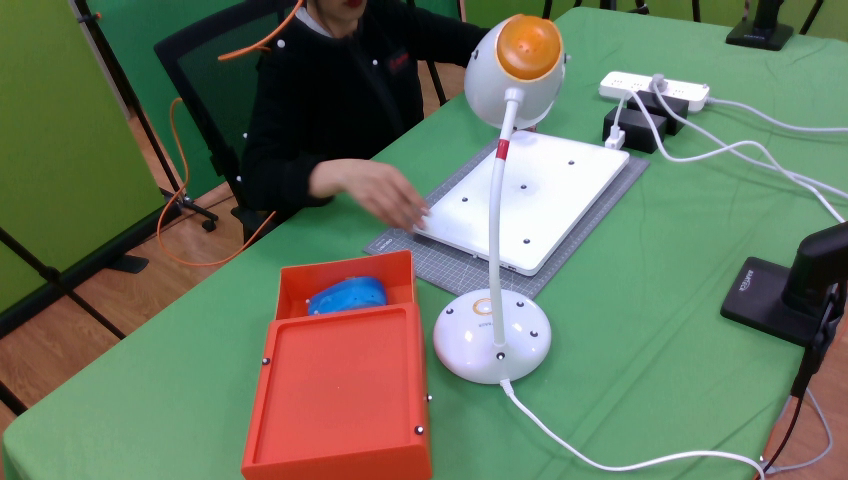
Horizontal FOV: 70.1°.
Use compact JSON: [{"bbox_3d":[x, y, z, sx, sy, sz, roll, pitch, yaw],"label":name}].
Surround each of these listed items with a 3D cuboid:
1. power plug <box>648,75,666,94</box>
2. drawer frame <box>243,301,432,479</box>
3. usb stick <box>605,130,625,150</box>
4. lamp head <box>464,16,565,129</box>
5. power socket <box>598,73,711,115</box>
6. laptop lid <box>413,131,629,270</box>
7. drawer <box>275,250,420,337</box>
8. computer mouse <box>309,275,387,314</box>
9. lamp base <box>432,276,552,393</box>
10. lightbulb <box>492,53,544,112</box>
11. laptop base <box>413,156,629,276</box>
[{"bbox_3d":[0.457,-0.301,1.212,0.073,0.053,0.035,-36,46,-28],"label":"power plug"},{"bbox_3d":[-0.096,0.185,0.738,0.202,0.083,0.212,-8,40,1],"label":"drawer frame"},{"bbox_3d":[0.348,-0.175,1.110,0.021,0.027,0.059,19,52,29],"label":"usb stick"},{"bbox_3d":[0.101,-0.184,0.655,0.112,0.112,0.123,-9,0,0],"label":"lamp head"},{"bbox_3d":[0.470,-0.303,1.249,0.225,0.033,0.072,20,49,30],"label":"power socket"},{"bbox_3d":[0.172,-0.087,1.042,0.239,0.013,0.357,21,48,34],"label":"laptop lid"},{"bbox_3d":[-0.103,0.117,0.825,0.194,0.073,0.210,-8,40,1],"label":"drawer"},{"bbox_3d":[-0.112,0.089,0.881,0.117,0.041,0.062,-16,42,0],"label":"computer mouse"},{"bbox_3d":[0.085,0.075,0.756,0.161,0.181,0.178,-14,44,-6],"label":"lamp base"},{"bbox_3d":[0.109,-0.181,0.679,0.059,0.059,0.107,-10,-3,0],"label":"lightbulb"},{"bbox_3d":[0.176,-0.077,1.048,0.233,0.023,0.355,19,47,34],"label":"laptop base"}]
